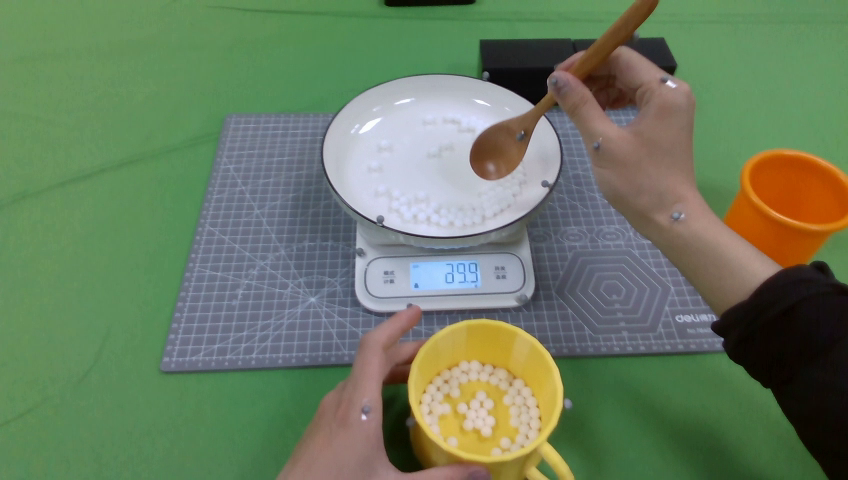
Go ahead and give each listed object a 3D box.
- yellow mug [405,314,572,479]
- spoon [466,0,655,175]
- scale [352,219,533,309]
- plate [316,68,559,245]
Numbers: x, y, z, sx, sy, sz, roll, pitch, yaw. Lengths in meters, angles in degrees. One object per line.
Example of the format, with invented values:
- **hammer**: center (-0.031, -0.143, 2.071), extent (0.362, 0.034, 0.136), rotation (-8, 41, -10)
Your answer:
- **yellow mug**: center (0.048, 0.118, 0.407), extent (0.100, 0.064, 0.129), rotation (-37, 62, -24)
- **spoon**: center (0.088, -0.103, 0.425), extent (0.041, 0.194, 0.021), rotation (51, 53, 1)
- **scale**: center (0.012, -0.031, 0.540), extent (0.149, 0.032, 0.199), rotation (-2, 52, -2)
- **plate**: center (0.011, -0.074, 0.532), extent (0.209, 0.038, 0.207), rotation (1, 52, -1)
